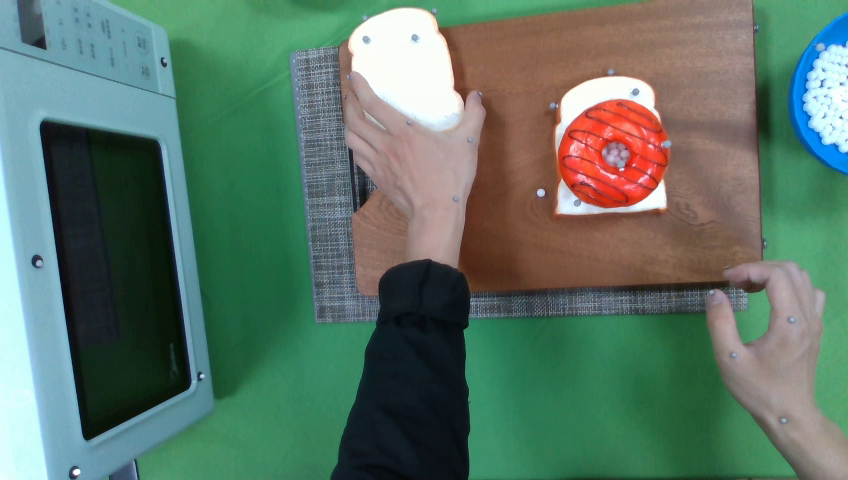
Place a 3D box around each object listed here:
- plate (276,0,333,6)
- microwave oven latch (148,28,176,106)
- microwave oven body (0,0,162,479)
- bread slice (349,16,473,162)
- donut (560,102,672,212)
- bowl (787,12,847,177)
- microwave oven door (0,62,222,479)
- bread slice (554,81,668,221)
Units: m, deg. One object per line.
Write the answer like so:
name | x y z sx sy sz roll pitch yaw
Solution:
plate | -0.119 -0.350 0.637 0.207 0.039 0.207 1 94 11
microwave oven latch | -0.295 -0.188 0.663 0.030 0.029 0.079 -6 93 11
microwave oven body | -0.438 0.009 0.606 0.325 0.260 0.442 -6 93 11
bread slice | -0.021 -0.154 0.611 0.107 0.018 0.134 -18 89 11
donut | 0.173 -0.074 0.550 0.099 0.048 0.099 1 95 11
bowl | 0.392 -0.123 0.533 0.151 0.077 0.151 1 94 11
microwave oven door | -0.291 0.035 0.574 0.039 0.244 0.356 -7 92 12
bread slice | 0.175 -0.084 0.579 0.105 0.019 0.131 -5 94 10
